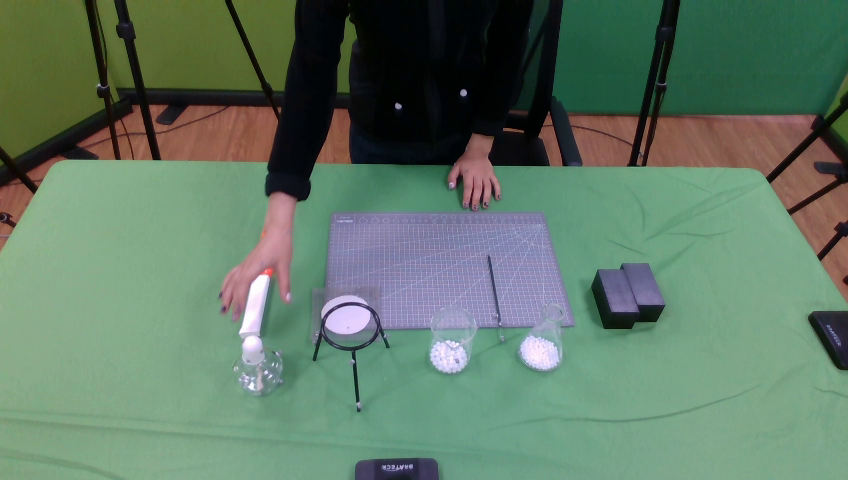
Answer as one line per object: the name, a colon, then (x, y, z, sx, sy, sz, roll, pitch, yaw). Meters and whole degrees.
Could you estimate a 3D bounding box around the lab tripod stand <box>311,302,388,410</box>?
lab tripod stand: (-0.113, 0.168, 0.951, 0.148, 0.132, 0.147, 2, 44, -2)

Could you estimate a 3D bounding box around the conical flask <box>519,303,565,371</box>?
conical flask: (0.201, 0.155, 0.997, 0.075, 0.122, 0.075, 2, 46, -2)

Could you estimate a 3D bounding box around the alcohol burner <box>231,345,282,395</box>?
alcohol burner: (-0.260, 0.187, 0.935, 0.078, 0.119, 0.077, 3, 44, -3)

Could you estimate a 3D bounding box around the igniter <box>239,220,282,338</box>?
igniter: (-0.298, 0.061, 1.113, 0.057, 0.025, 0.274, -5, 46, 4)

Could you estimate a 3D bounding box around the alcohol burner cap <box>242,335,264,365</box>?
alcohol burner cap: (-0.258, 0.163, 0.908, 0.034, 0.048, 0.033, 5, 48, -6)

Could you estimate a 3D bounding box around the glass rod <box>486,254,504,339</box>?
glass rod: (0.130, 0.099, 1.119, 0.008, 0.008, 0.198, -1, 46, -4)

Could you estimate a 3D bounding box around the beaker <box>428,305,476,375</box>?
beaker: (0.044, 0.169, 0.987, 0.074, 0.101, 0.083, 1, 47, -3)

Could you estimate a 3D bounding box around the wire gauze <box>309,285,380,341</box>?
wire gauze: (-0.141, 0.128, 1.071, 0.125, 0.011, 0.120, -1, 46, -5)
